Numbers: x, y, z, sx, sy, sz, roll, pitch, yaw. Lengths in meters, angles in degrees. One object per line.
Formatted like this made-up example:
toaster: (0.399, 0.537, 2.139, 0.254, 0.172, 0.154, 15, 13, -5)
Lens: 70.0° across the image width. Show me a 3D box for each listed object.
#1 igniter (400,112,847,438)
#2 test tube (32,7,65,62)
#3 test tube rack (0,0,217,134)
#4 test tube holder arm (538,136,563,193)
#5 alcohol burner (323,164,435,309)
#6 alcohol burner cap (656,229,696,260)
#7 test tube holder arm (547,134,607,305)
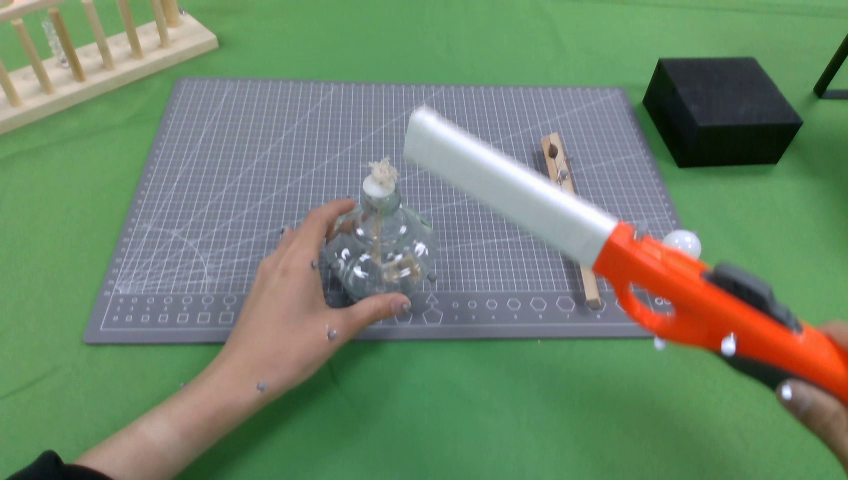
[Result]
igniter: (0.101, 0.011, 0.312, 0.275, 0.057, 0.025, 33, 47, 18)
test tube: (-0.340, -0.223, 0.524, 0.017, 0.151, 0.017, 4, 47, -4)
test tube rack: (-0.324, -0.186, 0.559, 0.242, 0.086, 0.066, -34, 60, -29)
test tube holder arm: (0.113, -0.056, 0.528, 0.010, 0.015, 0.087, -24, 48, 22)
alcohol burner: (-0.030, -0.007, 0.409, 0.078, 0.120, 0.077, 2, 51, -2)
alcohol burner cap: (0.187, 0.012, 0.459, 0.034, 0.048, 0.033, 3, 48, -3)
test tube holder arm: (0.122, -0.024, 0.498, 0.013, 0.015, 0.176, -25, 47, 21)
